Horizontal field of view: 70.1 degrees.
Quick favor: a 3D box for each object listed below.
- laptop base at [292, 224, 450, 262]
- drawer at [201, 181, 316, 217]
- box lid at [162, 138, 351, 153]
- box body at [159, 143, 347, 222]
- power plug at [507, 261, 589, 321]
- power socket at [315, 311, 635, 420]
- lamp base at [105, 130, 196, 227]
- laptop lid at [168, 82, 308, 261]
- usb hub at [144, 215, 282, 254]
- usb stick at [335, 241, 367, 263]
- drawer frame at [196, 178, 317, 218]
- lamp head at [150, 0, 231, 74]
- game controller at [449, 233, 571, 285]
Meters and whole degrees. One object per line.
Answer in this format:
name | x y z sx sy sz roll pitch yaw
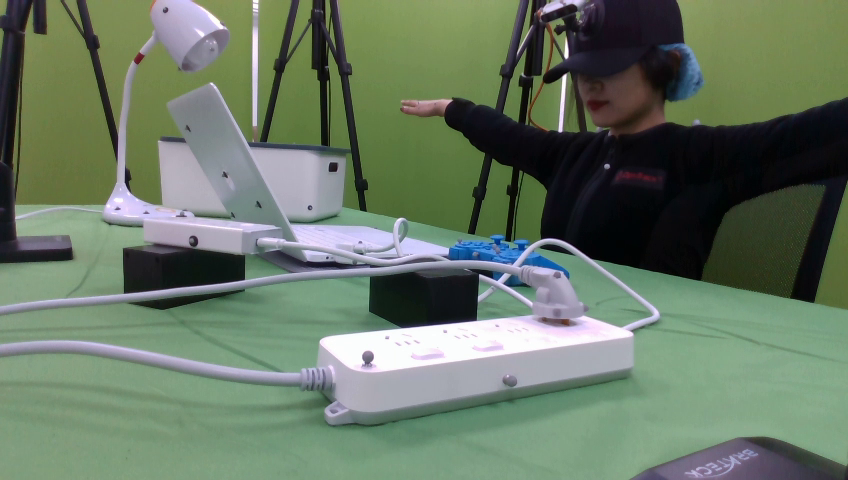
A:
laptop base | -0.127 0.002 0.946 0.237 0.023 0.352 2 6 -31
drawer | -0.371 -0.098 1.390 0.212 0.073 0.194 1 9 4
box lid | -0.371 -0.215 1.394 0.371 0.015 0.263 4 8 7
box body | -0.384 -0.137 1.406 0.364 0.160 0.254 3 8 7
power plug | 0.091 0.043 0.444 0.035 0.052 0.072 -1 5 -18
power socket | 0.039 0.072 0.385 0.228 0.032 0.072 -2 7 -29
lamp base | -0.532 -0.120 1.153 0.179 0.180 0.161 1 7 8
laptop lid | -0.273 -0.094 0.844 0.013 0.242 0.355 -33 24 -22
usb hub | -0.200 -0.006 0.573 0.125 0.025 0.050 6 7 23
usb stick | -0.093 0.014 0.742 0.021 0.027 0.059 -4 1 -34
drawer frame | -0.376 -0.101 1.393 0.213 0.082 0.202 1 8 6
lamp head | -0.432 -0.375 1.086 0.123 0.112 0.112 42 8 -2
game controller | 0.101 0.021 0.760 0.097 0.051 0.154 -7 10 -30
